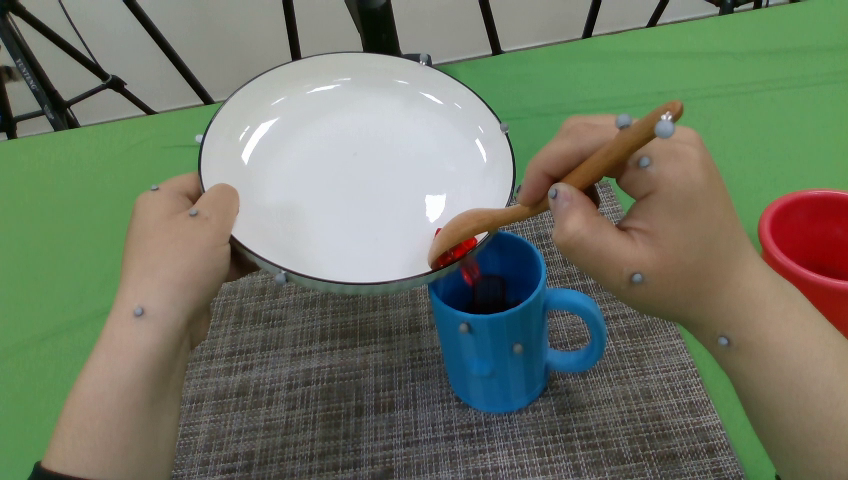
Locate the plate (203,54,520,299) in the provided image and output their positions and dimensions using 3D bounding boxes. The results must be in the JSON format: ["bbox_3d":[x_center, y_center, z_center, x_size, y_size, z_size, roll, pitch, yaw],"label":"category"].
[{"bbox_3d":[-0.040,-0.046,0.415,0.208,0.039,0.205,3,55,-4],"label":"plate"}]

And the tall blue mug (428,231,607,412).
[{"bbox_3d":[0.063,0.054,0.418,0.107,0.109,0.077,-14,43,-2],"label":"tall blue mug"}]

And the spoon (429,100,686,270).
[{"bbox_3d":[0.050,-0.018,0.288,0.041,0.193,0.022,-41,96,-30],"label":"spoon"}]
